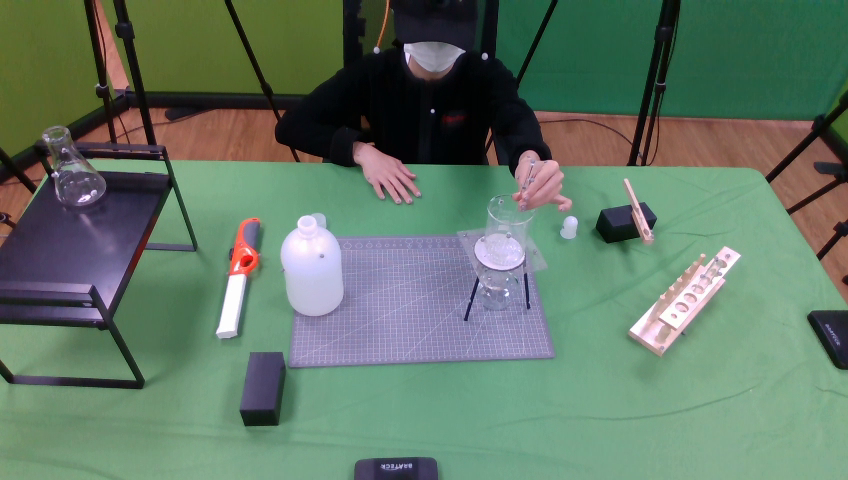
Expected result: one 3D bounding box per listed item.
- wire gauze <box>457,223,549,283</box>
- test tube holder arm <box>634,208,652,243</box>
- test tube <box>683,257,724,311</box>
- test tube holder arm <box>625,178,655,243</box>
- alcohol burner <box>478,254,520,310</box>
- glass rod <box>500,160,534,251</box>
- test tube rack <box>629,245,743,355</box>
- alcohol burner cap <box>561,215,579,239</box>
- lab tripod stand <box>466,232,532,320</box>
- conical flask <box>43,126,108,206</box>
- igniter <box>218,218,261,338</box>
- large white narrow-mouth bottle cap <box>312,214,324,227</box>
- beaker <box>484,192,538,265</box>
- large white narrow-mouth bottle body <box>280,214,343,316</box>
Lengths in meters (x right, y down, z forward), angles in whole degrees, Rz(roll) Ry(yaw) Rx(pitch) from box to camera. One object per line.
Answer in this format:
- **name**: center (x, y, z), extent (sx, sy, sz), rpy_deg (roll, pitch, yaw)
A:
- **wire gauze**: center (0.131, 0.016, 1.017), extent (0.121, 0.011, 0.124), rpy_deg (-10, 44, -15)
- **test tube holder arm**: center (0.428, -0.030, 1.189), extent (0.010, 0.015, 0.087), rpy_deg (2, 47, -3)
- **test tube**: center (0.476, 0.080, 1.037), extent (0.017, 0.151, 0.017), rpy_deg (1, 51, -2)
- **test tube holder arm**: center (0.433, -0.063, 1.220), extent (0.013, 0.015, 0.177), rpy_deg (2, 47, -3)
- **alcohol burner**: center (0.133, 0.068, 1.071), extent (0.078, 0.120, 0.077), rpy_deg (0, 47, 0)
- **glass rod**: center (0.141, -0.047, 0.929), extent (0.008, 0.200, 0.008), rpy_deg (4, 49, -5)
- **test tube rack**: center (0.474, 0.095, 1.091), extent (0.242, 0.085, 0.066), rpy_deg (-34, 56, -31)
- **alcohol burner cap**: center (0.299, -0.030, 1.231), extent (0.034, 0.048, 0.033), rpy_deg (1, 47, 0)
- **lab tripod stand**: center (0.125, 0.059, 1.065), extent (0.148, 0.132, 0.147), rpy_deg (1, 45, 0)
- **conical flask**: center (-0.555, -0.119, 0.953), extent (0.075, 0.122, 0.075), rpy_deg (2, 46, -2)
- **igniter**: center (-0.336, 0.060, 1.111), extent (0.057, 0.025, 0.274), rpy_deg (-7, 46, 4)
- **large white narrow-mouth bottle cap**: center (-0.219, -0.033, 1.214), extent (0.038, 0.024, 0.037), rpy_deg (2, 46, -2)
- **beaker**: center (0.138, -0.016, 0.980), extent (0.084, 0.101, 0.073), rpy_deg (-6, 45, -9)
- **large white narrow-mouth bottle body**: center (-0.190, 0.035, 1.025), extent (0.102, 0.195, 0.101), rpy_deg (2, 46, -2)
